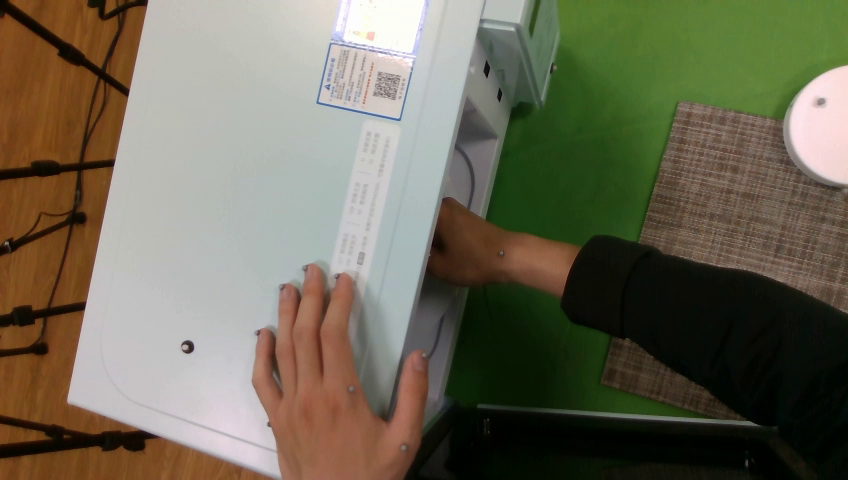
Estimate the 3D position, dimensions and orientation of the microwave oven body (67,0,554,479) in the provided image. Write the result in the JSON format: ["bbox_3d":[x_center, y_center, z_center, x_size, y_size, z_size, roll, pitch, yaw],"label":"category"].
[{"bbox_3d":[-0.090,-0.044,0.572,0.325,0.261,0.441,13,93,14],"label":"microwave oven body"}]

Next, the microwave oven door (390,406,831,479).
[{"bbox_3d":[0.164,0.193,0.501,0.355,0.244,0.039,-1,88,14],"label":"microwave oven door"}]

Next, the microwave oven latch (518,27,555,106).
[{"bbox_3d":[0.114,-0.181,0.621,0.030,0.029,0.079,14,93,14],"label":"microwave oven latch"}]

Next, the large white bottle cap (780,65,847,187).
[{"bbox_3d":[0.402,-0.107,0.572,0.114,0.018,0.114,0,89,14],"label":"large white bottle cap"}]

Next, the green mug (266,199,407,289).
[{"bbox_3d":[-0.079,0.005,0.593,0.125,0.105,0.092,2,92,11],"label":"green mug"}]
